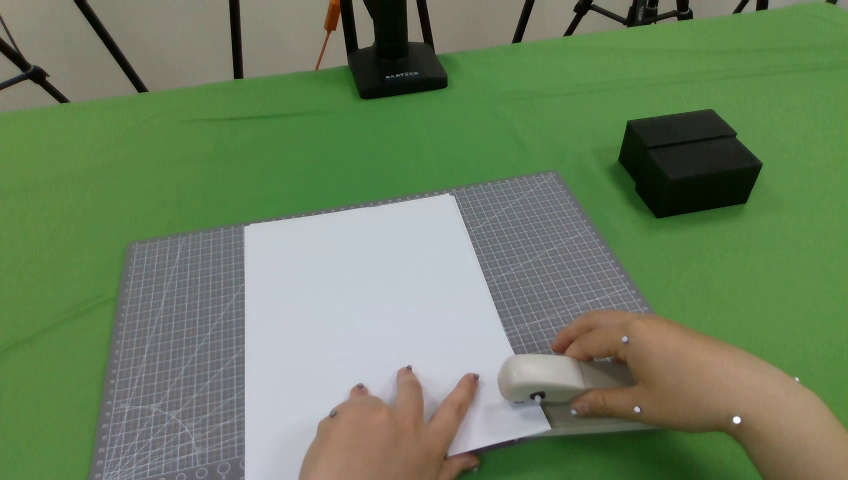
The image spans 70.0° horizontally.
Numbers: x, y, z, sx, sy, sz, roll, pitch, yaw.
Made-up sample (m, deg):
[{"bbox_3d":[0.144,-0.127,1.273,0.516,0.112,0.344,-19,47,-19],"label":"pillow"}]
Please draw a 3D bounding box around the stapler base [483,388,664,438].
[{"bbox_3d":[0.110,0.118,0.443,0.131,0.024,0.041,-1,42,-5],"label":"stapler base"}]

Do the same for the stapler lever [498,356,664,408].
[{"bbox_3d":[0.111,0.100,0.428,0.118,0.040,0.026,-3,43,-4],"label":"stapler lever"}]
